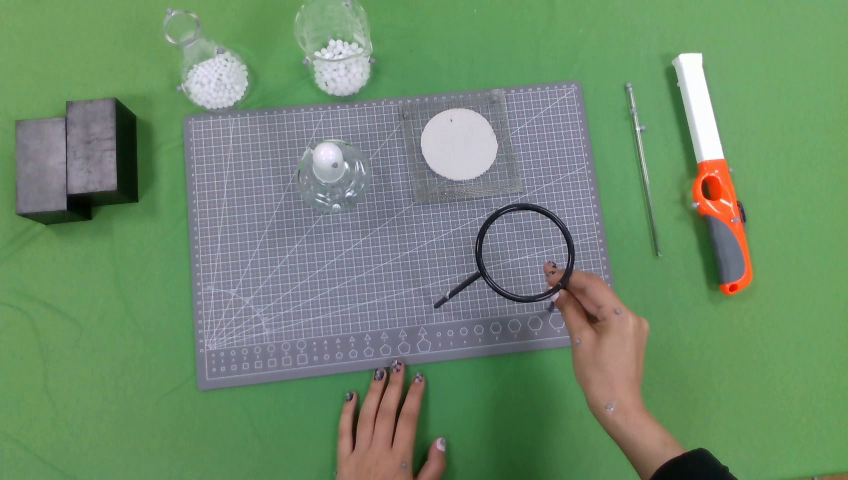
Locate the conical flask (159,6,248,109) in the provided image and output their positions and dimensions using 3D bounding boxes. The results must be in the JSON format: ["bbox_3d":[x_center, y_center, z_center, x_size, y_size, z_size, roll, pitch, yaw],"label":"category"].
[{"bbox_3d":[-0.231,-0.191,0.624,0.075,0.122,0.075,0,80,-3],"label":"conical flask"}]

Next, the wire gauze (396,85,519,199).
[{"bbox_3d":[0.038,-0.110,0.679,0.125,0.011,0.121,-8,82,-6],"label":"wire gauze"}]

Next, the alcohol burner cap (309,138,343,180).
[{"bbox_3d":[-0.094,-0.080,0.578,0.034,0.048,0.033,1,80,-8],"label":"alcohol burner cap"}]

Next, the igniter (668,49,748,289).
[{"bbox_3d":[0.318,-0.083,0.680,0.057,0.025,0.275,-6,82,-14],"label":"igniter"}]

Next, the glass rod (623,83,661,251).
[{"bbox_3d":[0.247,-0.085,0.686,0.008,0.008,0.199,-7,81,-4],"label":"glass rod"}]

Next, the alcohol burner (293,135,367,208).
[{"bbox_3d":[-0.097,-0.073,0.613,0.078,0.119,0.077,1,82,-3],"label":"alcohol burner"}]

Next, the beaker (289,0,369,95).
[{"bbox_3d":[-0.094,-0.204,0.644,0.084,0.100,0.074,29,81,2],"label":"beaker"}]

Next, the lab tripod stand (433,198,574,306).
[{"bbox_3d":[0.079,0.022,0.594,0.148,0.131,0.148,1,81,-5],"label":"lab tripod stand"}]
